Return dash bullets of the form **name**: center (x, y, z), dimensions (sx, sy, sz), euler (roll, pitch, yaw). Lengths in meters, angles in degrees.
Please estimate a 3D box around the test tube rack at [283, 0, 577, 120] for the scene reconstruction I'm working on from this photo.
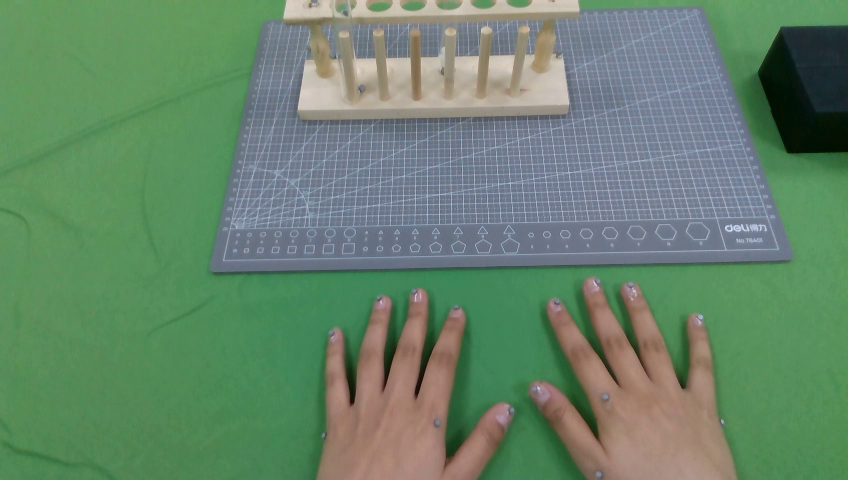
- **test tube rack**: center (0.005, -0.162, 0.531), dimensions (0.242, 0.086, 0.066), euler (-1, 58, 2)

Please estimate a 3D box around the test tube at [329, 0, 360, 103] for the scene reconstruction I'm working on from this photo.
- **test tube**: center (-0.065, -0.169, 0.485), dimensions (0.017, 0.152, 0.017), euler (1, 57, -1)

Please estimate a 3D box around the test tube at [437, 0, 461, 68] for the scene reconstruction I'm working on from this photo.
- **test tube**: center (0.023, -0.204, 0.497), dimensions (0.017, 0.151, 0.017), euler (2, 55, -3)
